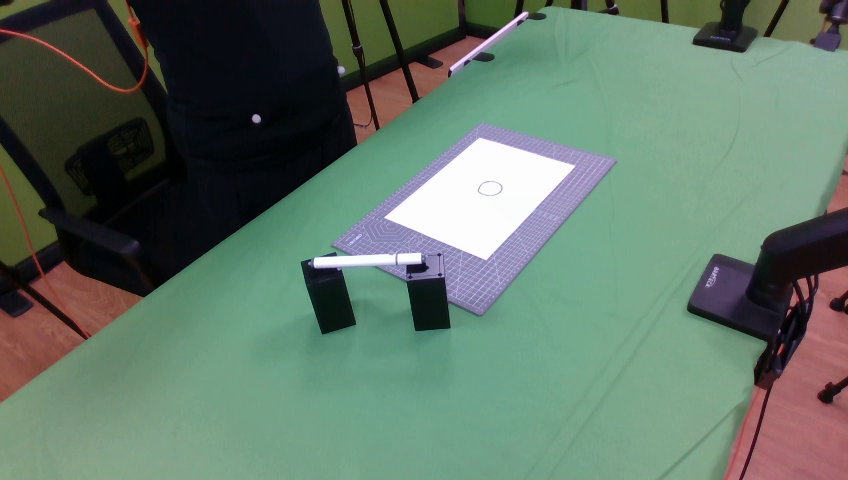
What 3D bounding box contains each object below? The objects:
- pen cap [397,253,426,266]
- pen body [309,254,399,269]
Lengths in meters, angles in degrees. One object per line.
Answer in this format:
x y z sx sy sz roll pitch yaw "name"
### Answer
-0.016 0.026 0.791 0.038 0.017 0.017 -3 40 3 "pen cap"
-0.079 0.029 0.797 0.144 0.017 0.017 -3 40 5 "pen body"
